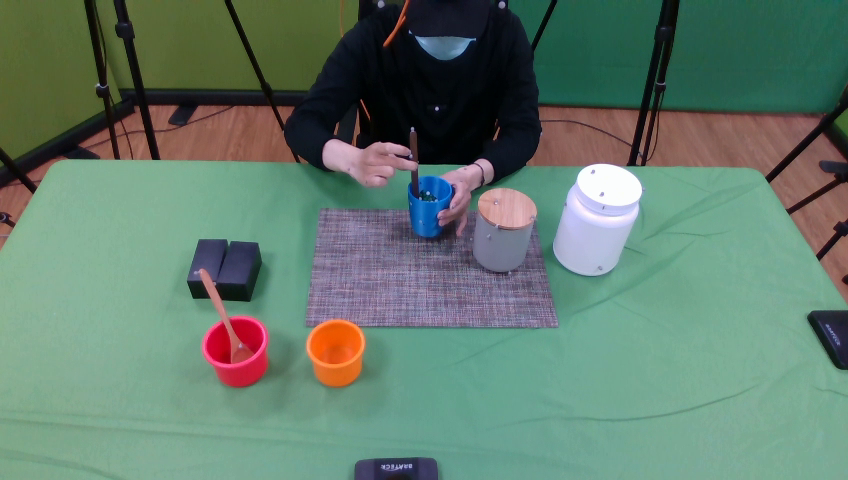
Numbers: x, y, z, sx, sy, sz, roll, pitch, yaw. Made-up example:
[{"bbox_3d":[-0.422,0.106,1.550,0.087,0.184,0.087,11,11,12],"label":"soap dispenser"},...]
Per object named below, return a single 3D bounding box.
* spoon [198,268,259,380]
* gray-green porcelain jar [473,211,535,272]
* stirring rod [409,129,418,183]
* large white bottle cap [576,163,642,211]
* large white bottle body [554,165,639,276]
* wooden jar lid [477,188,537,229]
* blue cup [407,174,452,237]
[{"bbox_3d":[-0.313,0.132,0.962,0.041,0.021,0.194,-24,96,-19],"label":"spoon"},{"bbox_3d":[0.147,-0.010,1.139,0.106,0.127,0.105,2,46,-2],"label":"gray-green porcelain jar"},{"bbox_3d":[-0.019,-0.126,1.141,0.014,0.177,0.006,-24,41,-29],"label":"stirring rod"},{"bbox_3d":[0.330,-0.096,1.081,0.115,0.018,0.114,2,46,-2],"label":"large white bottle cap"},{"bbox_3d":[0.326,-0.037,1.141,0.131,0.185,0.130,2,46,-2],"label":"large white bottle body"},{"bbox_3d":[0.149,-0.054,1.094,0.108,0.021,0.107,4,45,-4],"label":"wooden jar lid"},{"bbox_3d":[0.008,-0.061,1.173,0.093,0.101,0.092,1,44,-1],"label":"blue cup"}]
